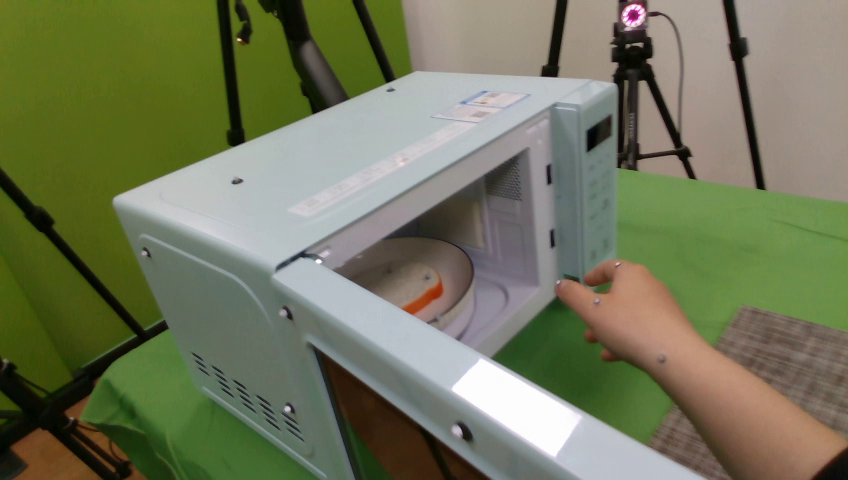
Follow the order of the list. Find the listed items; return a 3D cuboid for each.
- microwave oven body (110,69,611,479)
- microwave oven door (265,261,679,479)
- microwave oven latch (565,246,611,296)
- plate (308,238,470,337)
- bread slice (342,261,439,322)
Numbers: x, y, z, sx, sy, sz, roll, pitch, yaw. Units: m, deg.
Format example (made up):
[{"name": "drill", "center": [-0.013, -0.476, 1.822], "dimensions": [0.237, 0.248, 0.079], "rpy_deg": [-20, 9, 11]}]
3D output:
[{"name": "microwave oven body", "center": [-0.039, 0.001, 0.685], "dimensions": [0.323, 0.262, 0.441], "rpy_deg": [17, 39, 39]}, {"name": "microwave oven door", "center": [0.037, 0.165, 0.343], "dimensions": [0.039, 0.246, 0.352], "rpy_deg": [-30, 34, -32]}, {"name": "microwave oven latch", "center": [0.202, 0.035, 0.745], "dimensions": [0.030, 0.030, 0.079], "rpy_deg": [17, 40, 40]}, {"name": "plate", "center": [-0.049, 0.064, 0.683], "dimensions": [0.209, 0.038, 0.207], "rpy_deg": [-9, 28, 5]}, {"name": "bread slice", "center": [-0.051, 0.065, 0.687], "dimensions": [0.131, 0.019, 0.104], "rpy_deg": [-30, 35, -28]}]
